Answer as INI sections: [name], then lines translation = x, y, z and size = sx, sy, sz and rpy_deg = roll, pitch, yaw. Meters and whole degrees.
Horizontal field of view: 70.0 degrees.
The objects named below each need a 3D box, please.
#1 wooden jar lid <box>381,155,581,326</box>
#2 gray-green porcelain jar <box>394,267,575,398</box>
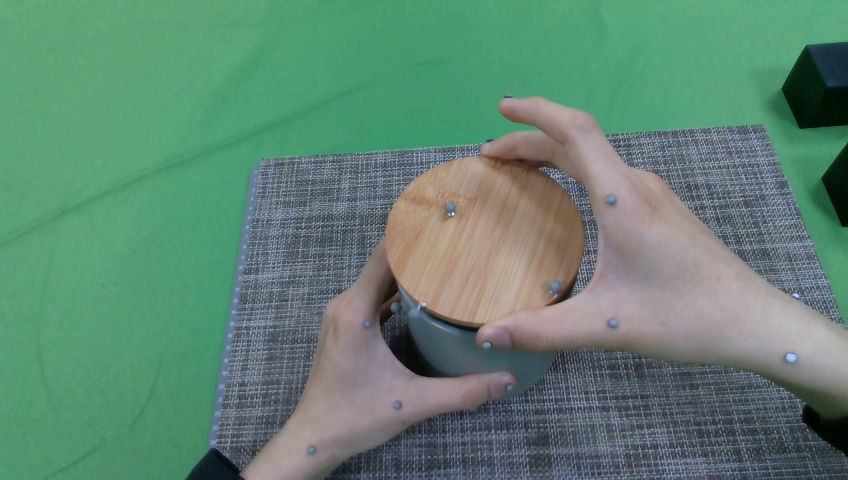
[wooden jar lid]
translation = 0.031, 0.000, 0.335
size = 0.108, 0.021, 0.107
rpy_deg = -1, 60, 3
[gray-green porcelain jar]
translation = 0.037, 0.039, 0.395
size = 0.106, 0.127, 0.105
rpy_deg = -2, 58, 4
